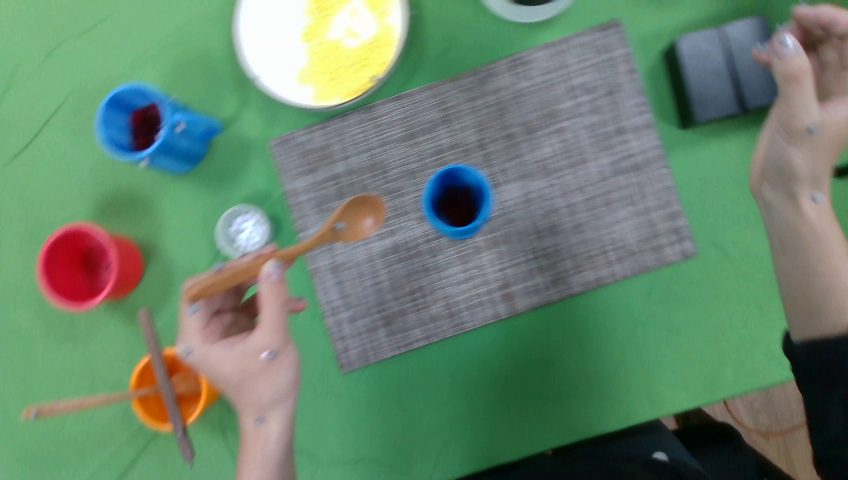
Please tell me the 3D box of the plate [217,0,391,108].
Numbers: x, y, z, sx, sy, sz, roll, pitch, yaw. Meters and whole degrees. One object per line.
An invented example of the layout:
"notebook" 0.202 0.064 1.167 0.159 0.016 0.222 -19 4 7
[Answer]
"plate" -0.143 -0.260 0.733 0.209 0.038 0.209 0 90 3

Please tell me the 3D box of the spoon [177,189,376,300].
"spoon" -0.100 0.001 0.453 0.021 0.193 0.042 17 118 26

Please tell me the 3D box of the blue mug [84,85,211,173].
"blue mug" -0.310 -0.128 0.708 0.116 0.106 0.082 -6 89 3

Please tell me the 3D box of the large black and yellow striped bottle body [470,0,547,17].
"large black and yellow striped bottle body" 0.097 -0.336 0.648 0.131 0.184 0.130 0 89 4

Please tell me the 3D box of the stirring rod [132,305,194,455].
"stirring rod" -0.293 0.157 0.680 0.014 0.006 0.176 -20 88 3

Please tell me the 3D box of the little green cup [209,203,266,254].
"little green cup" -0.223 -0.013 0.736 0.061 0.038 0.061 0 90 4

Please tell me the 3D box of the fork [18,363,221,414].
"fork" -0.334 0.168 0.685 0.208 0.018 0.028 -4 95 -40

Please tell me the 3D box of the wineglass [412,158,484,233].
"wineglass" 0.027 -0.043 0.651 0.074 0.172 0.073 0 89 4
